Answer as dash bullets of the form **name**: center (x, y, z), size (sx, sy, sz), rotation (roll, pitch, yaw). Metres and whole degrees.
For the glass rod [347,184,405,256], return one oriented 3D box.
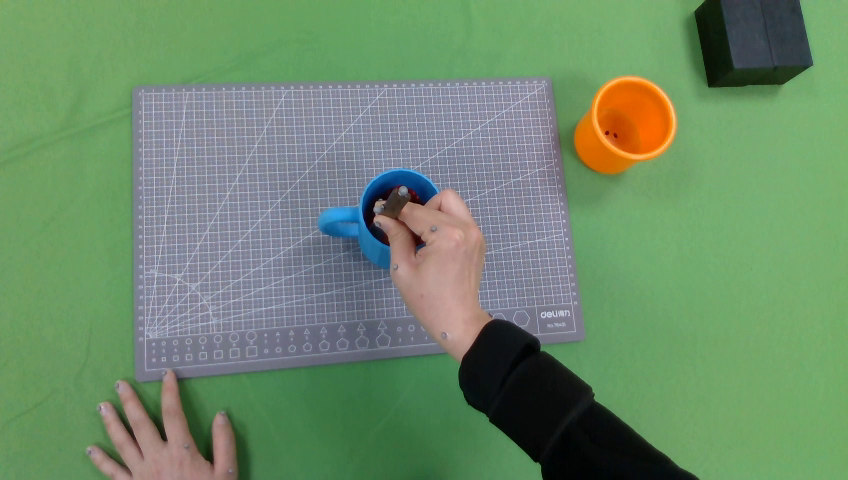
- **glass rod**: center (-0.045, -0.012, 0.514), size (0.008, 0.200, 0.008), rotation (5, 74, -17)

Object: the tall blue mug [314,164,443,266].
- **tall blue mug**: center (-0.042, -0.014, 0.580), size (0.107, 0.108, 0.077), rotation (-28, 85, -12)
